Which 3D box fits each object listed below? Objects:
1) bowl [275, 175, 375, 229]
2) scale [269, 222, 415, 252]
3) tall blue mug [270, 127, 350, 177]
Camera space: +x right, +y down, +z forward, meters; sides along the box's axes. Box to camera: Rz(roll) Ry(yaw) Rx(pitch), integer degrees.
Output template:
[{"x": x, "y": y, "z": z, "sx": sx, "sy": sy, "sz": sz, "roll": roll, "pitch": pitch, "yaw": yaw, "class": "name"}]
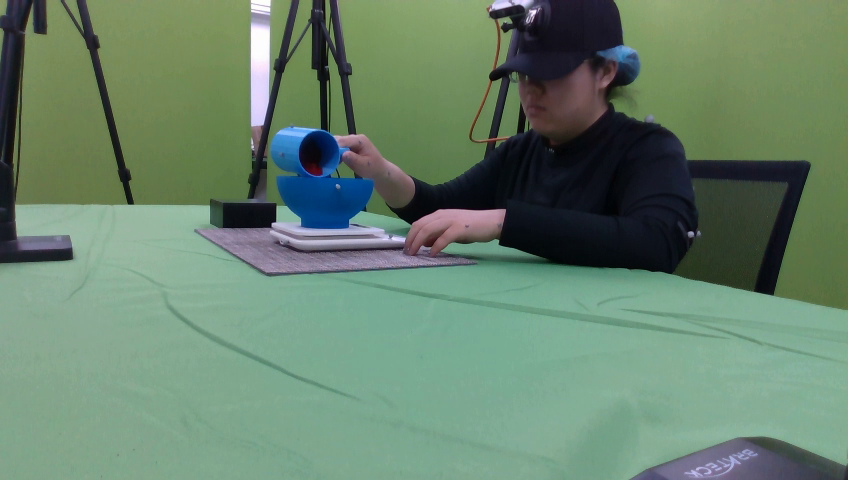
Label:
[{"x": -0.152, "y": -0.059, "z": 0.932, "sx": 0.151, "sy": 0.077, "sz": 0.151, "roll": 2, "pitch": 6, "yaw": 0, "class": "bowl"}, {"x": -0.130, "y": -0.007, "z": 0.958, "sx": 0.202, "sy": 0.031, "sz": 0.148, "roll": -1, "pitch": 9, "yaw": -32, "class": "scale"}, {"x": -0.186, "y": -0.154, "z": 1.003, "sx": 0.107, "sy": 0.078, "sz": 0.107, "roll": -37, "pitch": 30, "yaw": -25, "class": "tall blue mug"}]
